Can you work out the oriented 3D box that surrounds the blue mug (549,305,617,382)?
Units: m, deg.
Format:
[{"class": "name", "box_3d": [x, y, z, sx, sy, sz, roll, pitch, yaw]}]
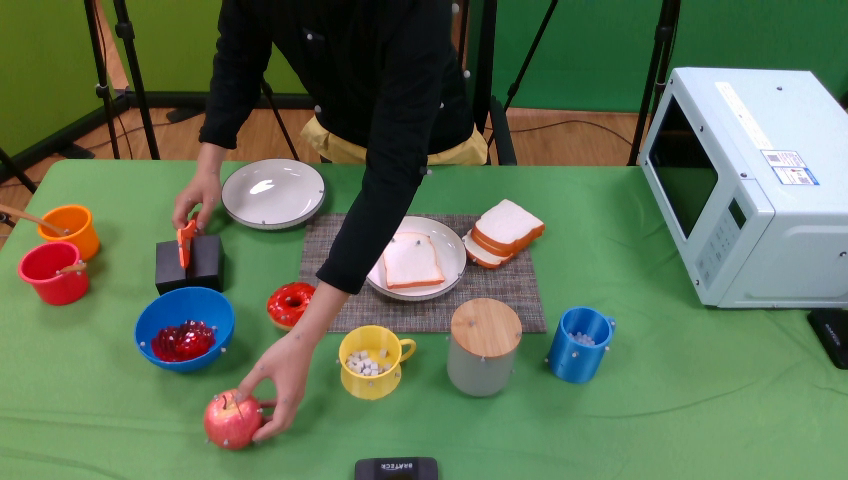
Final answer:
[{"class": "blue mug", "box_3d": [0.269, 0.166, 0.998, 0.116, 0.106, 0.082, -19, 51, -21]}]

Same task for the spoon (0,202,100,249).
[{"class": "spoon", "box_3d": [-0.683, -0.031, 1.088, 0.021, 0.195, 0.041, -34, 44, 26]}]

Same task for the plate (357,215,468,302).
[{"class": "plate", "box_3d": [-0.022, 0.037, 1.141, 0.208, 0.039, 0.206, 2, 46, -2]}]

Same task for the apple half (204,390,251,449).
[{"class": "apple half", "box_3d": [-0.289, 0.266, 0.878, 0.053, 0.075, 0.080, -23, 46, -22]}]

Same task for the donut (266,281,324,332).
[{"class": "donut", "box_3d": [-0.222, 0.115, 1.049, 0.099, 0.048, 0.098, 2, 46, -2]}]

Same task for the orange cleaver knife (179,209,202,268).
[{"class": "orange cleaver knife", "box_3d": [-0.431, -0.007, 1.127, 0.012, 0.077, 0.210, -5, 18, -10]}]

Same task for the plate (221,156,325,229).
[{"class": "plate", "box_3d": [-0.308, -0.095, 1.251, 0.209, 0.038, 0.208, 3, 47, -3]}]

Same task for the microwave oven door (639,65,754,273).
[{"class": "microwave oven door", "box_3d": [0.522, -0.147, 1.193, 0.039, 0.245, 0.353, 0, 47, -3]}]

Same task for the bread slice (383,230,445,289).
[{"class": "bread slice", "box_3d": [-0.028, 0.035, 1.145, 0.107, 0.018, 0.133, -7, 48, -12]}]

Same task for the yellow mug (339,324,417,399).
[{"class": "yellow mug", "box_3d": [-0.072, 0.190, 0.978, 0.131, 0.064, 0.099, -17, 50, -20]}]

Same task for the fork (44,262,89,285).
[{"class": "fork", "box_3d": [-0.598, 0.054, 1.014, 0.207, 0.019, 0.028, -15, 28, 45]}]

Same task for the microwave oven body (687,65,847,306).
[{"class": "microwave oven body", "box_3d": [0.669, -0.111, 1.176, 0.326, 0.261, 0.439, 0, 46, -3]}]

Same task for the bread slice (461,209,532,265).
[{"class": "bread slice", "box_3d": [0.134, -0.004, 1.193, 0.104, 0.019, 0.131, 30, 51, 25]}]

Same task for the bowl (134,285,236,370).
[{"class": "bowl", "box_3d": [-0.377, 0.155, 0.981, 0.151, 0.077, 0.150, 2, 46, -2]}]

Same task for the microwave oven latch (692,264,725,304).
[{"class": "microwave oven latch", "box_3d": [0.522, 0.081, 1.115, 0.030, 0.029, 0.078, 2, 46, -2]}]

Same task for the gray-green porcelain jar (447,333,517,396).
[{"class": "gray-green porcelain jar", "box_3d": [0.090, 0.178, 0.959, 0.106, 0.127, 0.105, 2, 46, -2]}]

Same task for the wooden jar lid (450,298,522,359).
[{"class": "wooden jar lid", "box_3d": [0.093, 0.135, 0.914, 0.108, 0.021, 0.107, 3, 48, -3]}]

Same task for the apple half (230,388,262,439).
[{"class": "apple half", "box_3d": [-0.256, 0.252, 0.894, 0.033, 0.081, 0.081, -22, 52, -24]}]
